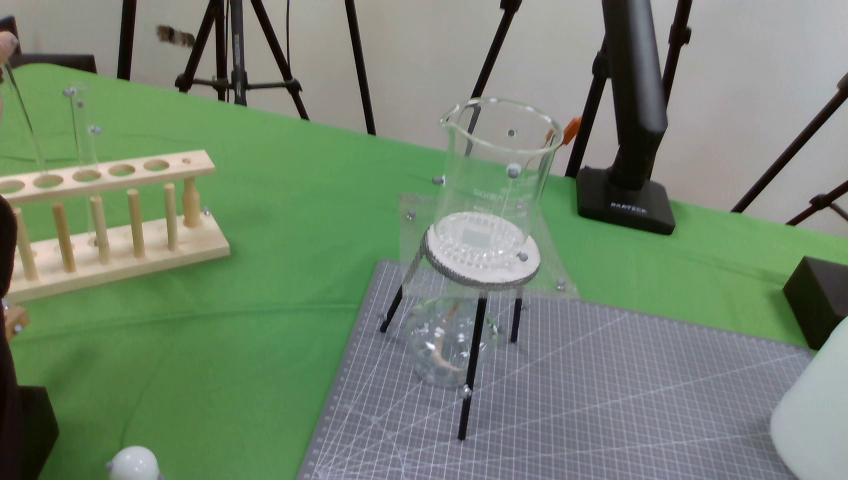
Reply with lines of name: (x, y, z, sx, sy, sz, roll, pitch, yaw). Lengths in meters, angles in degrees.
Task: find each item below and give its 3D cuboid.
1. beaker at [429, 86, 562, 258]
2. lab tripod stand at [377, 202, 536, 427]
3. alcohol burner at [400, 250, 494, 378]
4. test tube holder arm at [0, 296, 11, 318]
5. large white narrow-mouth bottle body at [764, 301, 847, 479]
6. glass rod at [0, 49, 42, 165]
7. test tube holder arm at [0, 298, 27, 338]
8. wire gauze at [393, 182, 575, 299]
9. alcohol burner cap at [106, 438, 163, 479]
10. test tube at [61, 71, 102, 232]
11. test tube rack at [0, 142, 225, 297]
beaker: (0.042, -0.044, 0.420, 0.084, 0.101, 0.073, 8, 38, -4)
lab tripod stand: (0.032, 0.051, 0.484, 0.149, 0.132, 0.147, 8, 38, -6)
alcohol burner: (0.022, 0.055, 0.493, 0.078, 0.120, 0.077, 9, 36, -6)
test tube holder arm: (-0.309, 0.095, 0.360, 0.013, 0.015, 0.177, 14, 36, 3)
large white narrow-mouth bottle body: (0.344, 0.098, 0.449, 0.102, 0.196, 0.101, 6, 37, -4)
glass rod: (-0.317, -0.128, 0.454, 0.008, 0.201, 0.008, 7, 46, -7)
test tube holder arm: (-0.296, 0.071, 0.396, 0.010, 0.015, 0.087, 14, 36, 4)
wire gauze: (0.038, -0.003, 0.447, 0.122, 0.011, 0.123, 2, 41, -8)
alcohol burner cap: (-0.184, 0.147, 0.384, 0.034, 0.048, 0.033, 8, 37, -5)
test tube: (-0.295, -0.071, 0.525, 0.017, 0.151, 0.017, 8, 33, -5)
test tube rack: (-0.308, -0.018, 0.534, 0.243, 0.086, 0.066, -15, 44, -30)
